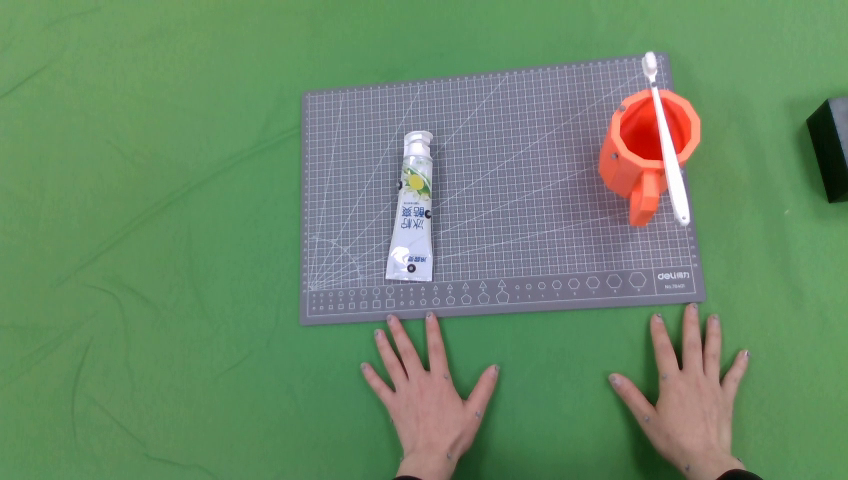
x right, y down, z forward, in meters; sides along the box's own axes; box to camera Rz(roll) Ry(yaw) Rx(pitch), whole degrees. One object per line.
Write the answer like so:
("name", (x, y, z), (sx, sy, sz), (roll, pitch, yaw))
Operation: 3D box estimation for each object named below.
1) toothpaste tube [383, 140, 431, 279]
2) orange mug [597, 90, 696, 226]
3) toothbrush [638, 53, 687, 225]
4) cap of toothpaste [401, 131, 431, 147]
("toothpaste tube", (-0.016, -0.037, 0.703), (0.055, 0.035, 0.164), (1, 80, 13))
("orange mug", (0.232, -0.082, 0.643), (0.083, 0.101, 0.125), (4, 72, 9))
("toothbrush", (0.234, -0.102, 0.593), (0.014, 0.017, 0.181), (-7, 75, 2))
("cap of toothpaste", (-0.010, -0.117, 0.716), (0.037, 0.037, 0.011), (-10, 72, 5))
